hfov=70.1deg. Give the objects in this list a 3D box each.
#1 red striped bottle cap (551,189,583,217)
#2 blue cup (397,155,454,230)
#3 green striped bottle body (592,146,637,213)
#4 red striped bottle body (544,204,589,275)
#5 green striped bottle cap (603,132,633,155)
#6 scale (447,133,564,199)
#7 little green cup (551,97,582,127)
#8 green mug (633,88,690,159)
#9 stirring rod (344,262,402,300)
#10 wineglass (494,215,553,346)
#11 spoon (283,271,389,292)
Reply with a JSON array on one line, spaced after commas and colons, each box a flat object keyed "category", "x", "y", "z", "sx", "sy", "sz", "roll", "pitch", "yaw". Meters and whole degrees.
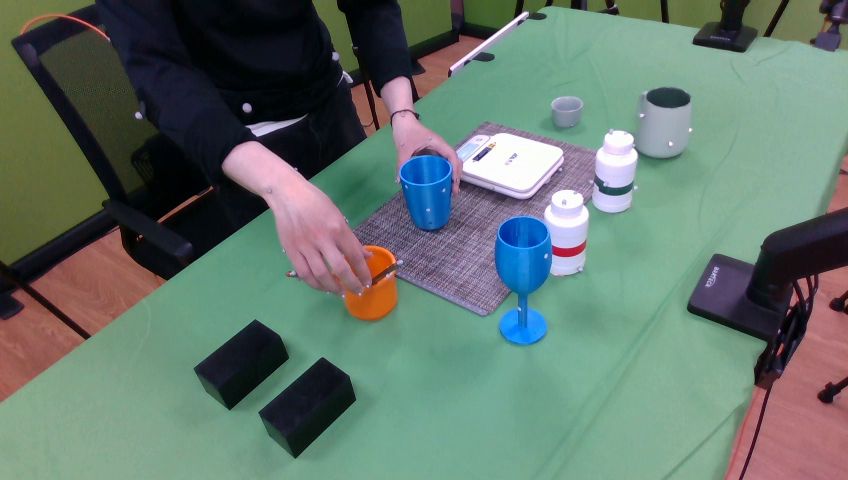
[{"category": "red striped bottle cap", "x": 0.199, "y": -0.052, "z": 0.843, "sx": 0.044, "sy": 0.018, "sz": 0.044, "roll": -2, "pitch": 42, "yaw": 2}, {"category": "blue cup", "x": 0.005, "y": -0.072, "z": 0.972, "sx": 0.092, "sy": 0.100, "sz": 0.092, "roll": -4, "pitch": 40, "yaw": 4}, {"category": "green striped bottle body", "x": 0.307, "y": -0.108, "z": 0.976, "sx": 0.063, "sy": 0.120, "sz": 0.063, "roll": -4, "pitch": 41, "yaw": 4}, {"category": "red striped bottle body", "x": 0.206, "y": -0.011, "z": 0.877, "sx": 0.063, "sy": 0.120, "sz": 0.062, "roll": -5, "pitch": 41, "yaw": 4}, {"category": "green striped bottle cap", "x": 0.301, "y": -0.149, "z": 0.938, "sx": 0.044, "sy": 0.020, "sz": 0.044, "roll": -3, "pitch": 39, "yaw": 3}, {"category": "scale", "x": 0.137, "y": -0.142, "z": 1.101, "sx": 0.199, "sy": 0.032, "sz": 0.149, "roll": 22, "pitch": 48, "yaw": 30}, {"category": "little green cup", "x": 0.284, "y": -0.255, "z": 1.213, "sx": 0.061, "sy": 0.039, "sz": 0.061, "roll": -4, "pitch": 41, "yaw": 4}, {"category": "green mug", "x": 0.423, "y": -0.217, "z": 1.099, "sx": 0.093, "sy": 0.105, "sz": 0.124, "roll": -16, "pitch": 41, "yaw": -9}, {"category": "stirring rod", "x": -0.072, "y": 0.057, "z": 0.813, "sx": 0.014, "sy": 0.175, "sz": 0.006, "roll": -16, "pitch": 80, "yaw": -33}, {"category": "wineglass", "x": 0.127, "y": 0.055, "z": 0.770, "sx": 0.074, "sy": 0.173, "sz": 0.073, "roll": -4, "pitch": 40, "yaw": 4}, {"category": "spoon", "x": -0.117, "y": 0.054, "z": 0.824, "sx": 0.041, "sy": 0.195, "sz": 0.021, "roll": 4, "pitch": 82, "yaw": 37}]
